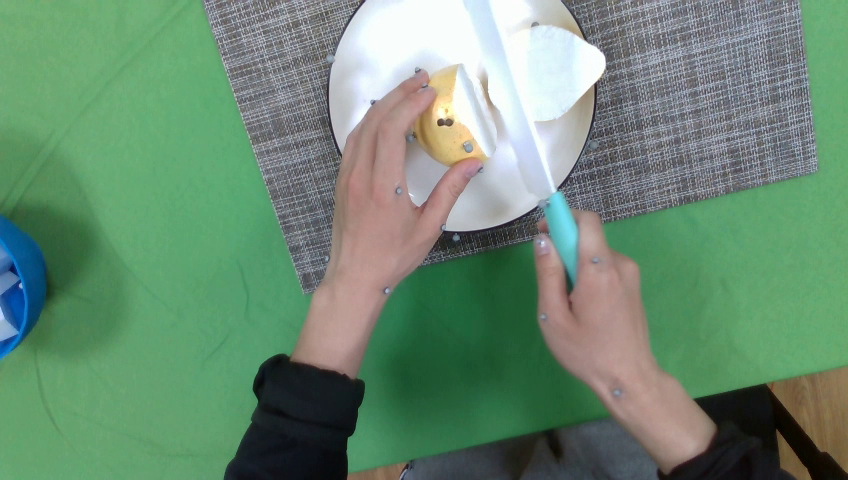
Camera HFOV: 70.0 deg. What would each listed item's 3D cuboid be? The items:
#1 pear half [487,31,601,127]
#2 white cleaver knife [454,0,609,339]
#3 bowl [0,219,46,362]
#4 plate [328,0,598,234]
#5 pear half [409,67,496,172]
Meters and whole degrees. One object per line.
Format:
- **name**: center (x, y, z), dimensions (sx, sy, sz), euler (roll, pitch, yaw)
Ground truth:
- **pear half**: center (0.093, -0.124, 0.467), dimensions (0.087, 0.031, 0.070), euler (-3, 103, 23)
- **white cleaver knife**: center (0.079, -0.048, 0.431), dimensions (0.021, 0.065, 0.288), euler (-25, 113, -2)
- **bowl**: center (-0.398, 0.033, 0.537), dimensions (0.151, 0.076, 0.152), euler (1, 105, 5)
- **plate**: center (0.030, -0.109, 0.481), dimensions (0.207, 0.039, 0.208), euler (1, 105, 5)
- **pear half**: center (0.014, -0.083, 0.443), dimensions (0.056, 0.110, 0.076), euler (-24, 93, 20)
